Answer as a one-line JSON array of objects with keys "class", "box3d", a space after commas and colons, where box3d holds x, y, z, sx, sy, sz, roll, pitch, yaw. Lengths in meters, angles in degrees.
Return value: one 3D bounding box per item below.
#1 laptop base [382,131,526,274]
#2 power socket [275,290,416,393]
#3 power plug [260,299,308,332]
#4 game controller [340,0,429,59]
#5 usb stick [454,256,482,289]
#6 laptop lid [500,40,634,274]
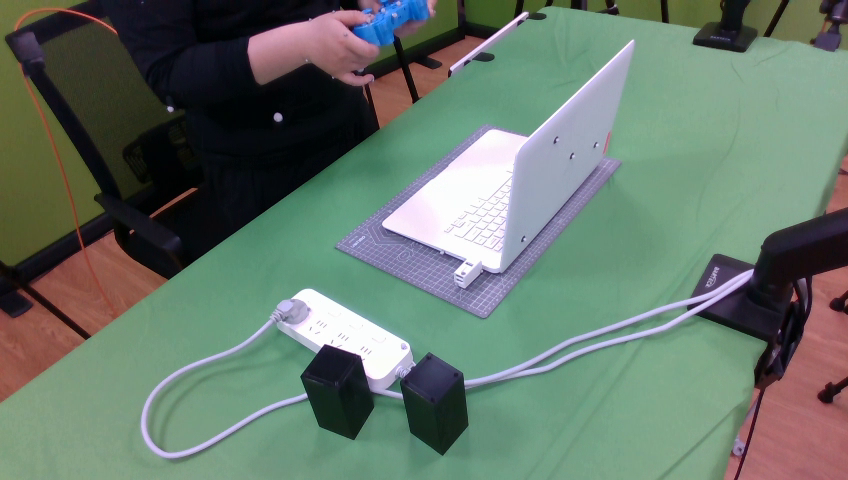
[{"class": "laptop base", "box3d": [0.123, -0.081, 1.049, 0.233, 0.023, 0.355, 20, 47, 33]}, {"class": "power socket", "box3d": [-0.114, 0.133, 0.821, 0.225, 0.033, 0.072, 24, 48, 32]}, {"class": "power plug", "box3d": [-0.193, 0.109, 0.830, 0.073, 0.053, 0.035, -34, 47, -23]}, {"class": "game controller", "box3d": [-0.062, -0.342, 0.953, 0.096, 0.052, 0.155, 8, 43, 41]}, {"class": "usb stick", "box3d": [0.069, 0.044, 0.891, 0.021, 0.027, 0.059, 22, 44, 32]}, {"class": "laptop lid", "box3d": [0.218, -0.128, 0.906, 0.013, 0.242, 0.358, 28, 50, 25]}]
